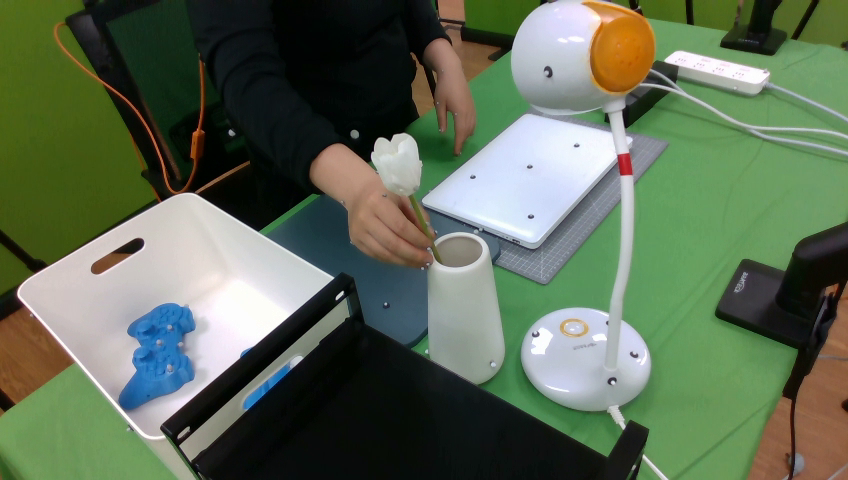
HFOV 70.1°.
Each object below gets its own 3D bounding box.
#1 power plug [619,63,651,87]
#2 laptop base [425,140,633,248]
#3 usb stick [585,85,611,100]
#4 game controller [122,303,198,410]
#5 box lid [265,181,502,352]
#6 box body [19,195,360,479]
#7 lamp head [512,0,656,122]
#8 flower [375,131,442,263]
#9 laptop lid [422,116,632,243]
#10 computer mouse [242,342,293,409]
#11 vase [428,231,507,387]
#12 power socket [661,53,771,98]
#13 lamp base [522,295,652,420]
[{"bbox_3d":[0.436,-0.341,1.265,0.035,0.053,0.072,6,30,-14],"label":"power plug"},{"bbox_3d":[0.193,-0.117,1.087,0.233,0.023,0.355,20,47,35],"label":"laptop base"},{"bbox_3d":[0.354,-0.305,1.252,0.027,0.021,0.058,-2,1,-39],"label":"usb stick"},{"bbox_3d":[-0.363,0.150,0.828,0.097,0.052,0.154,-13,42,-9],"label":"game controller"},{"bbox_3d":[-0.086,0.023,0.970,0.368,0.015,0.264,23,50,31],"label":"box lid"},{"bbox_3d":[-0.287,0.118,0.771,0.361,0.161,0.255,26,50,33],"label":"box body"},{"bbox_3d":[0.156,-0.168,0.563,0.113,0.113,0.122,-18,23,-12],"label":"lamp head"},{"bbox_3d":[0.018,0.023,0.676,0.044,0.364,0.038,-40,50,-16],"label":"flower"},{"bbox_3d":[0.190,-0.126,1.081,0.239,0.013,0.358,23,48,35],"label":"laptop lid"},{"bbox_3d":[-0.200,0.178,0.776,0.063,0.041,0.116,-11,43,-8],"label":"computer mouse"},{"bbox_3d":[0.051,0.087,0.727,0.098,0.201,0.097,-3,40,3],"label":"vase"},{"bbox_3d":[0.618,-0.355,1.291,0.225,0.033,0.072,29,53,35],"label":"power socket"},{"bbox_3d":[0.201,0.095,0.709,0.161,0.181,0.178,-16,43,-10],"label":"lamp base"}]
